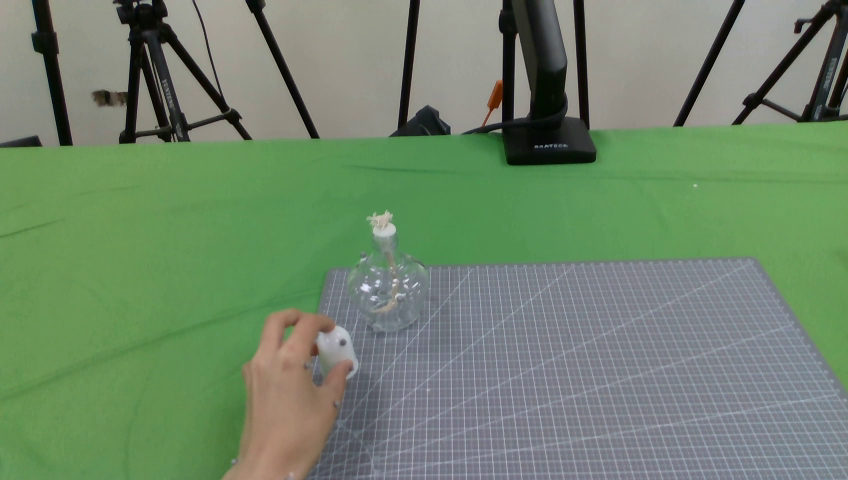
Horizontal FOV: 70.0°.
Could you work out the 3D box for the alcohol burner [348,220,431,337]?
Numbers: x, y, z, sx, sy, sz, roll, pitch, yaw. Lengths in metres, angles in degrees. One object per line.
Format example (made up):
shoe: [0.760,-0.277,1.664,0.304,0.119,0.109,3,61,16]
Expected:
alcohol burner: [-0.032,0.030,0.553,0.078,0.120,0.077,-1,37,1]

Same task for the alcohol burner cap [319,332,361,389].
alcohol burner cap: [-0.071,0.097,0.504,0.034,0.048,0.033,-2,38,2]
